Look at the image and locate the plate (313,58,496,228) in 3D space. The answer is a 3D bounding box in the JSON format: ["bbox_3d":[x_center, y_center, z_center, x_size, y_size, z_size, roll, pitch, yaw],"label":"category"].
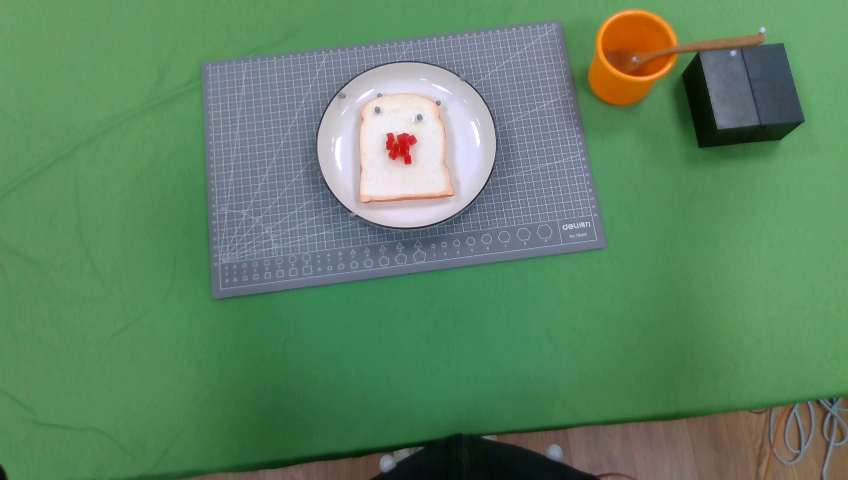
[{"bbox_3d":[-0.021,-0.111,0.704,0.209,0.038,0.208,0,76,0],"label":"plate"}]

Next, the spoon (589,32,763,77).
[{"bbox_3d":[0.271,-0.209,0.673,0.022,0.192,0.041,33,72,-37],"label":"spoon"}]

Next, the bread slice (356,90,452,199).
[{"bbox_3d":[-0.030,-0.111,0.705,0.107,0.018,0.133,-7,76,-2],"label":"bread slice"}]
